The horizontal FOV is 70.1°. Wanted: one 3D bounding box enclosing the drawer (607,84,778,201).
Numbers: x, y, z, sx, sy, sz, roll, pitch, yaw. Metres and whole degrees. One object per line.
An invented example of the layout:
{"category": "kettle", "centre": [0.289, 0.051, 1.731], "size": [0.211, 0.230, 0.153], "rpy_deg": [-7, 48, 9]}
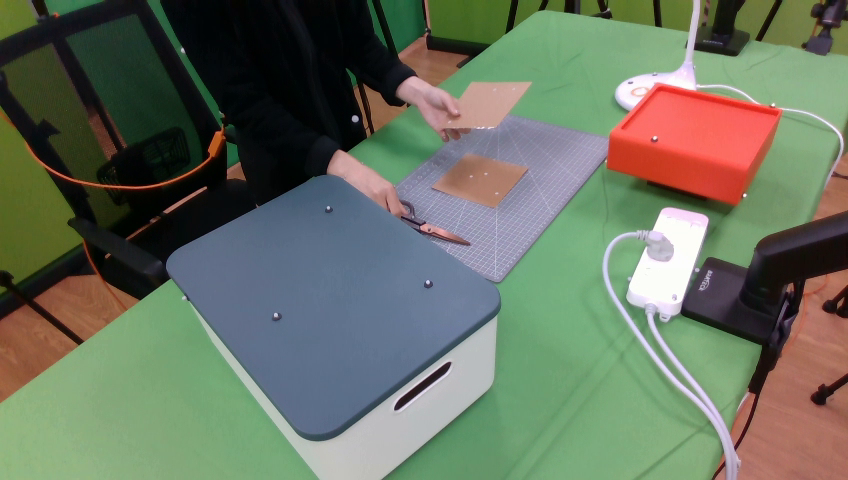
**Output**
{"category": "drawer", "centre": [0.438, -0.167, 0.996], "size": [0.210, 0.073, 0.195], "rpy_deg": [23, 48, 30]}

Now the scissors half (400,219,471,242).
{"category": "scissors half", "centre": [-0.004, -0.013, 0.994], "size": [0.174, 0.013, 0.040], "rpy_deg": [9, 70, 23]}

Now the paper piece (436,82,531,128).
{"category": "paper piece", "centre": [0.106, -0.244, 1.088], "size": [0.137, 0.009, 0.136], "rpy_deg": [11, 50, 41]}

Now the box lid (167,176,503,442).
{"category": "box lid", "centre": [-0.119, 0.047, 0.714], "size": [0.264, 0.015, 0.368], "rpy_deg": [-32, 47, -27]}

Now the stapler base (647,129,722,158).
{"category": "stapler base", "centre": [0.439, -0.167, 1.023], "size": [0.131, 0.024, 0.041], "rpy_deg": [-16, 25, -15]}

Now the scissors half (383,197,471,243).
{"category": "scissors half", "centre": [0.003, -0.031, 0.999], "size": [0.174, 0.013, 0.040], "rpy_deg": [27, 83, 27]}

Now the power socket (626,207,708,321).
{"category": "power socket", "centre": [0.360, 0.026, 0.886], "size": [0.072, 0.033, 0.227], "rpy_deg": [16, 46, 26]}

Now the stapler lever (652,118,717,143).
{"category": "stapler lever", "centre": [0.436, -0.191, 1.014], "size": [0.118, 0.040, 0.026], "rpy_deg": [-16, 25, -16]}

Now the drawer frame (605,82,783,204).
{"category": "drawer frame", "centre": [0.441, -0.167, 0.995], "size": [0.212, 0.083, 0.202], "rpy_deg": [23, 48, 30]}

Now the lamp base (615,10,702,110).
{"category": "lamp base", "centre": [0.484, -0.364, 1.211], "size": [0.180, 0.181, 0.159], "rpy_deg": [-15, 41, -14]}

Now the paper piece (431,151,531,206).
{"category": "paper piece", "centre": [0.104, -0.116, 1.104], "size": [0.135, 0.004, 0.136], "rpy_deg": [20, 47, 29]}

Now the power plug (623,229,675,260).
{"category": "power plug", "centre": [0.327, 0.007, 0.878], "size": [0.072, 0.053, 0.035], "rpy_deg": [25, 51, 33]}

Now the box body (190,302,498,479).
{"category": "box body", "centre": [-0.110, 0.103, 0.761], "size": [0.255, 0.161, 0.361], "rpy_deg": [-33, 46, -27]}
